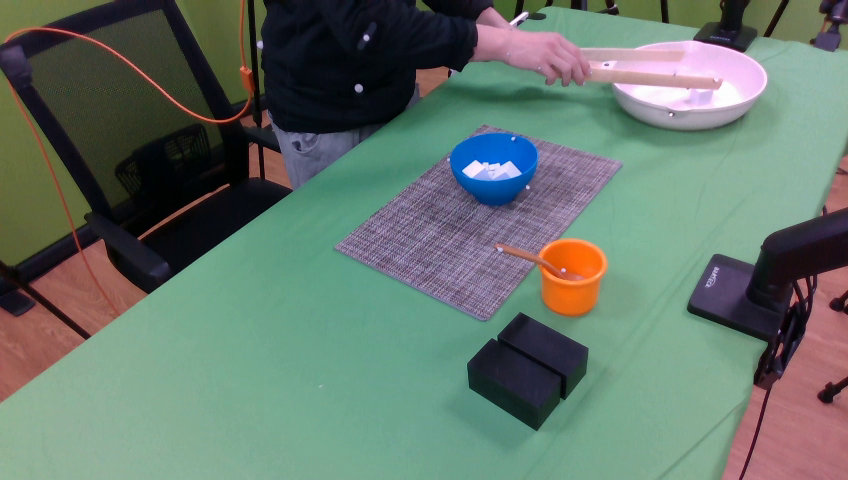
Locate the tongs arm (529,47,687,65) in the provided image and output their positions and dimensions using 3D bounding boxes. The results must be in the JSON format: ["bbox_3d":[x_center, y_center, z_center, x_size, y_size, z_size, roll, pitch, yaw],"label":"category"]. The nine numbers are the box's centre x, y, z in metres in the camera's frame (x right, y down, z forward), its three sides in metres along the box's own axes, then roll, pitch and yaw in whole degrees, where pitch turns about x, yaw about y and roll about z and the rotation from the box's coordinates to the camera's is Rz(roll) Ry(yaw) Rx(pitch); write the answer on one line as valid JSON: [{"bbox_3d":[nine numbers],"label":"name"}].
[{"bbox_3d":[0.355,-0.347,1.141,0.390,0.028,0.028,-8,50,-26],"label":"tongs arm"}]

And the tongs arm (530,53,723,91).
[{"bbox_3d":[0.375,-0.303,1.097,0.387,0.026,0.050,-2,45,-20],"label":"tongs arm"}]

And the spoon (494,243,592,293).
[{"bbox_3d":[0.161,0.035,0.808,0.021,0.195,0.041,-48,40,20],"label":"spoon"}]

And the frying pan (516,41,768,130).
[{"bbox_3d":[0.424,-0.338,1.236,0.486,0.103,0.307,18,45,15],"label":"frying pan"}]

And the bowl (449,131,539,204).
[{"bbox_3d":[0.120,-0.114,1.033,0.151,0.077,0.150,-4,41,4],"label":"bowl"}]
